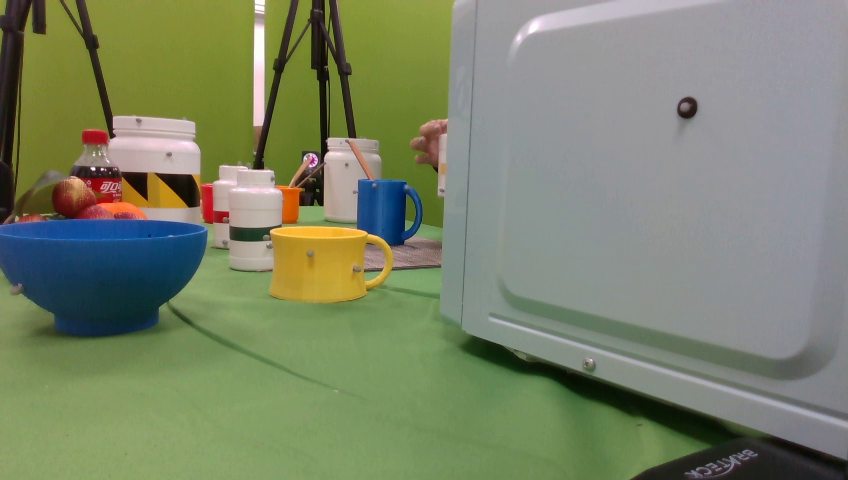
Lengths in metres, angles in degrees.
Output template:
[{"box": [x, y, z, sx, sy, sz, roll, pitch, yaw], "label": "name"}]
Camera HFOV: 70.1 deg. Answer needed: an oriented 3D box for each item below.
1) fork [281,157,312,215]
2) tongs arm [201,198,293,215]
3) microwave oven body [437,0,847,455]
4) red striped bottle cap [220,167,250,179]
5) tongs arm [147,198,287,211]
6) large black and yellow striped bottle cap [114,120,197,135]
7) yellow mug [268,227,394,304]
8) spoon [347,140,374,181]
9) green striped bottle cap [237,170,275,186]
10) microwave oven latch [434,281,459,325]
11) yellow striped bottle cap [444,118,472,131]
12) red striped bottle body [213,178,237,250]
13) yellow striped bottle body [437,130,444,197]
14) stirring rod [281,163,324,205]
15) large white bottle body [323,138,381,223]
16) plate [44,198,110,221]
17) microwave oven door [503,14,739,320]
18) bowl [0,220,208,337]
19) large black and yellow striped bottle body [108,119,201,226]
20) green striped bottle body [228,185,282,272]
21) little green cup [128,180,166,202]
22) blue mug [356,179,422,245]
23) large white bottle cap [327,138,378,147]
[{"box": [-0.289, -0.116, 1.321, 0.028, 0.019, 0.207, 6, 51, 19], "label": "fork"}, {"box": [-0.423, -0.084, 1.472, 0.050, 0.026, 0.386, 2, 6, 21], "label": "tongs arm"}, {"box": [0.279, -0.040, 0.465, 0.444, 0.260, 0.324, -3, 9, -41], "label": "microwave oven body"}, {"box": [-0.281, -0.100, 0.901, 0.044, 0.017, 0.044, -1, 5, 0], "label": "red striped bottle cap"}, {"box": [-0.504, -0.091, 1.513, 0.028, 0.028, 0.389, 0, 4, 37], "label": "tongs arm"}, {"box": [-0.407, -0.171, 0.920, 0.115, 0.019, 0.115, 2, 9, 0], "label": "large black and yellow striped bottle cap"}, {"box": [-0.094, 0.023, 0.629, 0.131, 0.064, 0.099, 0, 7, -22], "label": "yellow mug"}, {"box": [-0.089, -0.094, 1.028, 0.042, 0.193, 0.021, -4, -26, -45], "label": "spoon"}, {"box": [-0.205, -0.075, 0.737, 0.044, 0.020, 0.044, 1, 7, 0], "label": "green striped bottle cap"}, {"box": [0.044, 0.045, 0.470, 0.079, 0.029, 0.030, -2, 8, -39], "label": "microwave oven latch"}, {"box": [0.053, -0.178, 0.935, 0.044, 0.018, 0.044, 1, 6, 0], "label": "yellow striped bottle cap"}, {"box": [-0.284, -0.048, 0.909, 0.063, 0.119, 0.063, 3, 10, 0], "label": "red striped bottle body"}, {"box": [0.052, -0.127, 0.941, 0.063, 0.120, 0.063, 0, 7, 0], "label": "yellow striped bottle body"}, {"box": [-0.278, -0.105, 1.293, 0.176, 0.006, 0.014, -47, 25, -18], "label": "stirring rod"}, {"box": [-0.163, -0.135, 1.368, 0.131, 0.184, 0.130, 2, 7, 0], "label": "large white bottle body"}, {"box": [-0.617, -0.056, 1.179, 0.209, 0.038, 0.209, 3, 7, 0], "label": "plate"}, {"box": [0.217, -0.065, 0.601, 0.358, 0.243, 0.039, -4, 10, -41], "label": "microwave oven door"}, {"box": [-0.251, 0.029, 0.479, 0.151, 0.077, 0.151, 2, 7, 0], "label": "bowl"}, {"box": [-0.412, -0.088, 0.930, 0.131, 0.184, 0.130, 3, 7, 0], "label": "large black and yellow striped bottle body"}, {"box": [-0.208, -0.023, 0.745, 0.063, 0.119, 0.063, 2, 7, 0], "label": "green striped bottle body"}, {"box": [-0.485, -0.087, 1.062, 0.061, 0.038, 0.061, -1, 6, 0], "label": "little green cup"}, {"box": [-0.057, -0.047, 1.006, 0.116, 0.106, 0.082, 5, 8, 21], "label": "blue mug"}, {"box": [-0.160, -0.218, 1.357, 0.115, 0.018, 0.115, 2, 8, 0], "label": "large white bottle cap"}]
